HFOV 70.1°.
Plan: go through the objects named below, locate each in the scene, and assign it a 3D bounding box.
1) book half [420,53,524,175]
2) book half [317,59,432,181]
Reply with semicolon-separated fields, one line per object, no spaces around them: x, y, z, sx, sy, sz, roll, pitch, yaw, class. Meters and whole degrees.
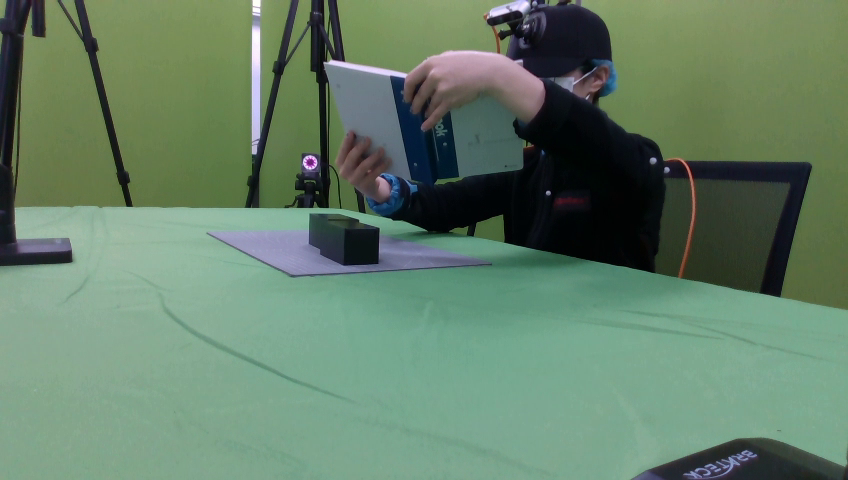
0.076;-0.179;0.900;0.143;0.210;0.007;-8;52;1;book half
-0.069;-0.177;0.915;0.148;0.016;0.211;14;-33;19;book half
